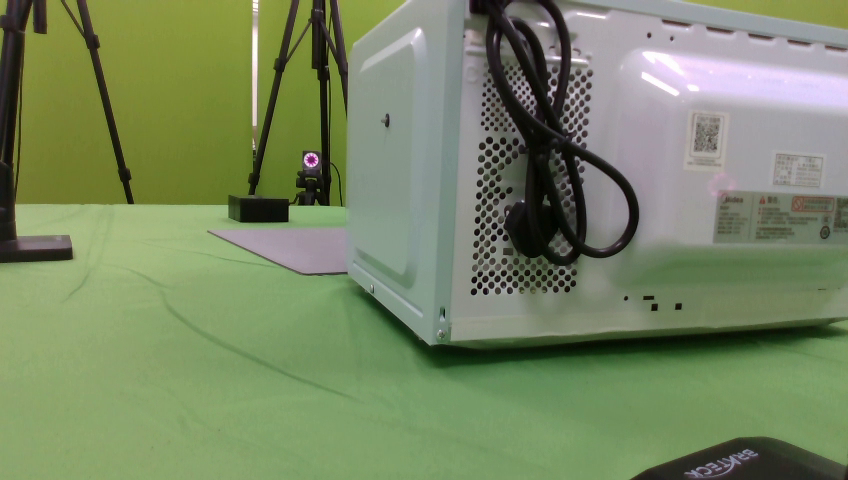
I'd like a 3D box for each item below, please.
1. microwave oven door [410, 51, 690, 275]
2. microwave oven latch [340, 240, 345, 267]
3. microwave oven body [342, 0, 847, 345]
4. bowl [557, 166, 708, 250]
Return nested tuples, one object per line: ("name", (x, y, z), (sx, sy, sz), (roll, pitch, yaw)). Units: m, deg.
("microwave oven door", (0.161, -0.084, 0.723), (0.357, 0.243, 0.039), (0, 8, -20))
("microwave oven latch", (-0.052, 0.016, 0.662), (0.079, 0.029, 0.030), (1, 7, -18))
("microwave oven body", (0.169, -0.060, 0.573), (0.444, 0.260, 0.324), (1, 7, -20))
("bowl", (0.214, -0.035, 0.640), (0.151, 0.077, 0.151), (2, 11, 0))
